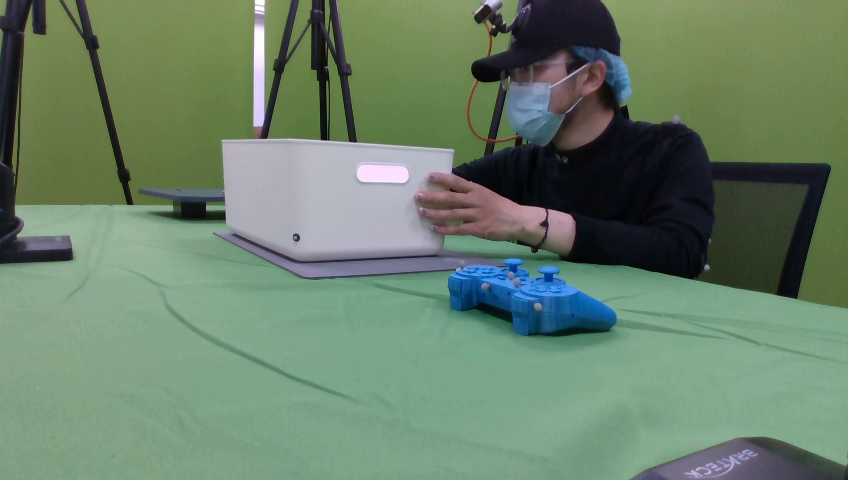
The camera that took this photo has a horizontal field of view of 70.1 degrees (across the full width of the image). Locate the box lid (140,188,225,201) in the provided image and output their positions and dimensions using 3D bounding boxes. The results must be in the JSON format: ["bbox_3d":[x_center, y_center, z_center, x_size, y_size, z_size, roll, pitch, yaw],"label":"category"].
[{"bbox_3d":[-0.430,-0.106,1.397,0.262,0.015,0.373,9,10,44],"label":"box lid"}]

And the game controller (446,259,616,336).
[{"bbox_3d":[0.091,0.048,0.562,0.097,0.051,0.154,-6,10,-32],"label":"game controller"}]

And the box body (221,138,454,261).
[{"bbox_3d":[-0.152,-0.074,0.963,0.255,0.160,0.362,-3,9,-33],"label":"box body"}]
